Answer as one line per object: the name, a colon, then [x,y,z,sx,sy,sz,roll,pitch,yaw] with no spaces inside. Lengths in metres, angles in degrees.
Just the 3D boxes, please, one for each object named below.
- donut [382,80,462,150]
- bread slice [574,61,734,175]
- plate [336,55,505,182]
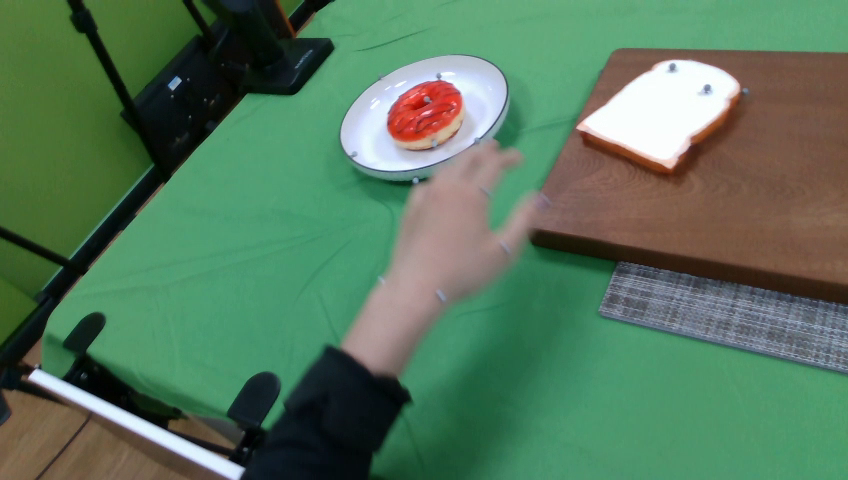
donut: [-0.003,-0.147,0.708,0.099,0.049,0.098,-13,47,15]
bread slice: [0.225,-0.123,0.580,0.134,0.018,0.106,-45,49,-15]
plate: [-0.003,-0.142,0.719,0.209,0.038,0.207,-12,47,14]
